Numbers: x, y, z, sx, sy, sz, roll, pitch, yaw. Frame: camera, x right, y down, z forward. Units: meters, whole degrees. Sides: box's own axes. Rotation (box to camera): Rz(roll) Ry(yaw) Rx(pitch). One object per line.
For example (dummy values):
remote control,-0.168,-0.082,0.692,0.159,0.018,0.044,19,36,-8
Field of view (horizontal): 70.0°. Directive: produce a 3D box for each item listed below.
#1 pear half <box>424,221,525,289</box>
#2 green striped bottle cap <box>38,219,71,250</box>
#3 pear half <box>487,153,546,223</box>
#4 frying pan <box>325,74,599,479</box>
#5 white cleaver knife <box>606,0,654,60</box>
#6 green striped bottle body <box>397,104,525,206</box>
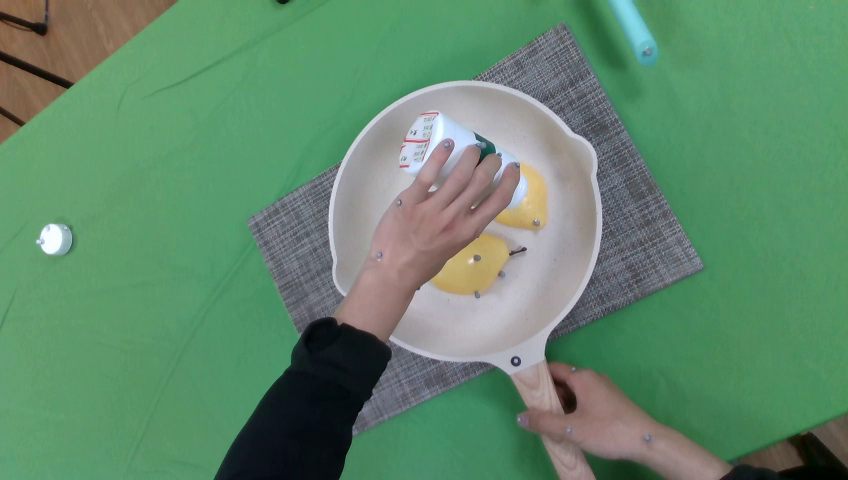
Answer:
pear half,0.054,0.013,0.656,0.109,0.056,0.076,-16,90,14
green striped bottle cap,-0.521,-0.008,0.853,0.044,0.020,0.044,0,90,18
pear half,0.095,-0.055,0.654,0.070,0.031,0.087,-45,74,18
frying pan,0.077,0.068,0.625,0.306,0.103,0.484,-27,74,16
white cleaver knife,0.165,-0.309,0.620,0.021,0.066,0.285,-27,80,20
green striped bottle body,0.039,-0.073,0.566,0.063,0.120,0.062,-34,44,42
